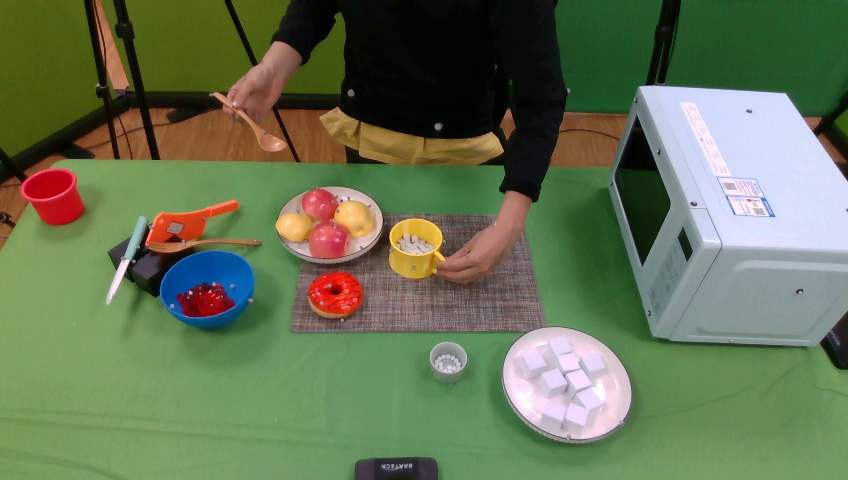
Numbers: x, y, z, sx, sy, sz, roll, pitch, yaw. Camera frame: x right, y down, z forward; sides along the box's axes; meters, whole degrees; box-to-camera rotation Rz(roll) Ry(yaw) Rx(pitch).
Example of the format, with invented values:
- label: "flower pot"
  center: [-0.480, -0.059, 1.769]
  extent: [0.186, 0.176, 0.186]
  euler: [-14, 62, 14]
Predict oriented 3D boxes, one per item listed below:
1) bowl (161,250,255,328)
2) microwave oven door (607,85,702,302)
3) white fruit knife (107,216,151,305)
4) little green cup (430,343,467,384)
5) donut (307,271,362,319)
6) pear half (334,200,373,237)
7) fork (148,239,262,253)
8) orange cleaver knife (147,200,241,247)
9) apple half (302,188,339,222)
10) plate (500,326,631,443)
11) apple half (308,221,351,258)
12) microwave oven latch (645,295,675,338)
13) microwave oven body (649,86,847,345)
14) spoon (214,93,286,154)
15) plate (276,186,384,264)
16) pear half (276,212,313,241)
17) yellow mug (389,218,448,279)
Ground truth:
- label: "bowl"
  center: [-0.362, 0.097, 1.040]
  extent: [0.151, 0.077, 0.150]
  euler: [2, 45, -2]
- label: "microwave oven door"
  center: [0.423, -0.094, 1.140]
  extent: [0.039, 0.245, 0.353]
  euler: [2, 46, -1]
- label: "white fruit knife"
  center: [-0.518, 0.032, 1.066]
  extent: [0.027, 0.016, 0.206]
  euler: [-19, 45, 19]
- label: "little green cup"
  center: [0.039, 0.203, 0.994]
  extent: [0.061, 0.039, 0.061]
  euler: [2, 46, -2]
- label: "donut"
  center: [-0.157, 0.097, 1.072]
  extent: [0.099, 0.048, 0.098]
  euler: [4, 45, -4]
- label: "pear half"
  center: [-0.147, -0.059, 1.209]
  extent: [0.076, 0.056, 0.109]
  euler: [-16, 42, -25]
- label: "fork"
  center: [-0.398, 0.008, 1.117]
  extent: [0.208, 0.019, 0.028]
  euler: [-5, 34, -37]
- label: "orange cleaver knife"
  center: [-0.435, -0.033, 1.157]
  extent: [0.012, 0.077, 0.211]
  euler: [31, 26, 18]
- label: "apple half"
  center: [-0.205, -0.076, 1.217]
  extent: [0.081, 0.033, 0.081]
  euler: [18, 46, -19]
- label: "plate"
  center: [0.224, 0.234, 0.978]
  extent: [0.208, 0.039, 0.206]
  euler: [2, 46, -2]
- label: "apple half"
  center: [-0.180, -0.005, 1.150]
  extent: [0.074, 0.053, 0.080]
  euler: [14, 43, 9]
- label: "microwave oven latch"
  center: [0.412, 0.134, 1.061]
  extent: [0.030, 0.029, 0.078]
  euler: [3, 45, 0]
- label: "microwave oven body"
  center: [0.568, -0.053, 1.118]
  extent: [0.326, 0.261, 0.439]
  euler: [2, 45, -1]
- label: "spoon"
  center: [-0.324, -0.218, 1.118]
  extent: [0.193, 0.022, 0.041]
  euler: [43, 57, 15]
- label: "plate"
  center: [-0.184, -0.027, 1.194]
  extent: [0.209, 0.038, 0.208]
  euler: [2, 46, -2]
- label: "pear half"
  center: [-0.244, -0.035, 1.178]
  extent: [0.070, 0.031, 0.088]
  euler: [40, 41, 1]
- label: "yellow mug"
  center: [-0.004, 0.023, 1.140]
  extent: [0.130, 0.064, 0.100]
  euler: [34, 53, 25]
